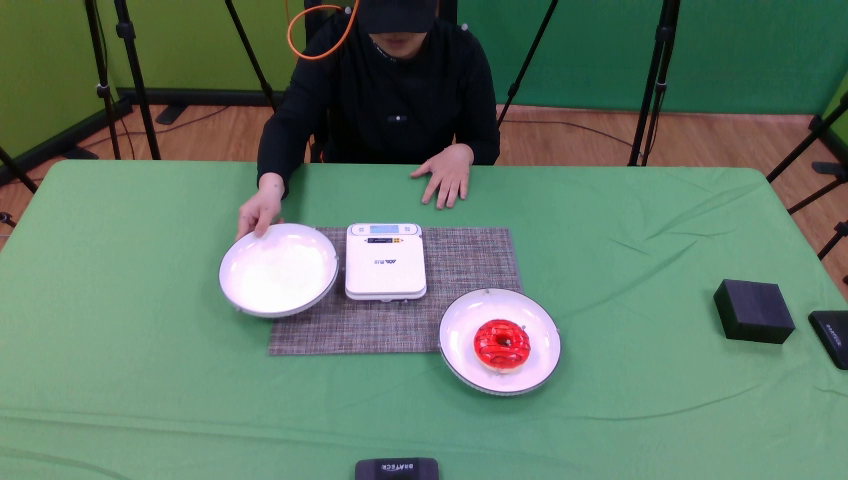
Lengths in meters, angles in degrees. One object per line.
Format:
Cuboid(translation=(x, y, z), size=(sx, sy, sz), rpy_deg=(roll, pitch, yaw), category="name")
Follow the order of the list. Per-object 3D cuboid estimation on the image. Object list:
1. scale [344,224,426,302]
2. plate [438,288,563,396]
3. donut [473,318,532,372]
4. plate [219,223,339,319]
Cuboid(translation=(-0.075, 0.033, 1.149), size=(0.149, 0.032, 0.199), rpy_deg=(0, 46, -5), category="scale")
Cuboid(translation=(0.127, 0.173, 1.025), size=(0.209, 0.038, 0.208), rpy_deg=(3, 48, -3), category="plate")
Cuboid(translation=(0.131, 0.174, 1.010), size=(0.099, 0.048, 0.098), rpy_deg=(1, 48, -1), category="donut")
Cuboid(translation=(-0.254, 0.057, 1.077), size=(0.208, 0.039, 0.206), rpy_deg=(0, 48, 0), category="plate")
